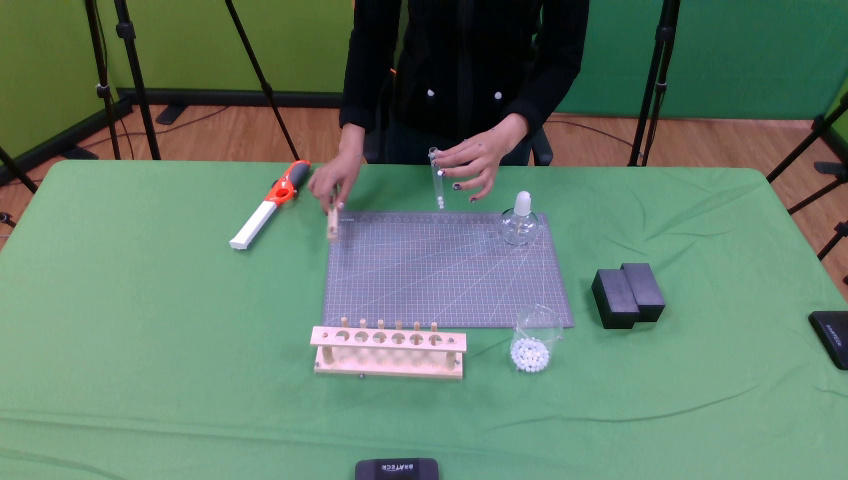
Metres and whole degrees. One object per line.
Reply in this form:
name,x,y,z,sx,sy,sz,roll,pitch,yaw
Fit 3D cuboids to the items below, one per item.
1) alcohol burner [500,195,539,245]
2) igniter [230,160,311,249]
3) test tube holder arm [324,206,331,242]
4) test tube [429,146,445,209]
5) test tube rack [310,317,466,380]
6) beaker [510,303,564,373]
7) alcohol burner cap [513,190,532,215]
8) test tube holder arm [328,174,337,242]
alcohol burner,0.190,-0.048,1.190,0.078,0.120,0.077,1,47,0
igniter,-0.311,-0.081,1.250,0.057,0.025,0.275,9,45,18
test tube holder arm,-0.183,-0.032,1.158,0.010,0.015,0.087,-5,48,1
test tube,0.024,-0.109,1.093,0.017,0.151,0.017,-4,51,6
test tube rack,-0.056,0.171,0.986,0.242,0.085,0.066,3,45,-1
beaker,0.182,0.164,1.000,0.074,0.101,0.083,2,45,-1
alcohol burner cap,0.191,-0.075,1.166,0.034,0.048,0.033,2,41,-2
test tube holder arm,-0.179,-0.066,1.188,0.013,0.015,0.177,-4,48,1
